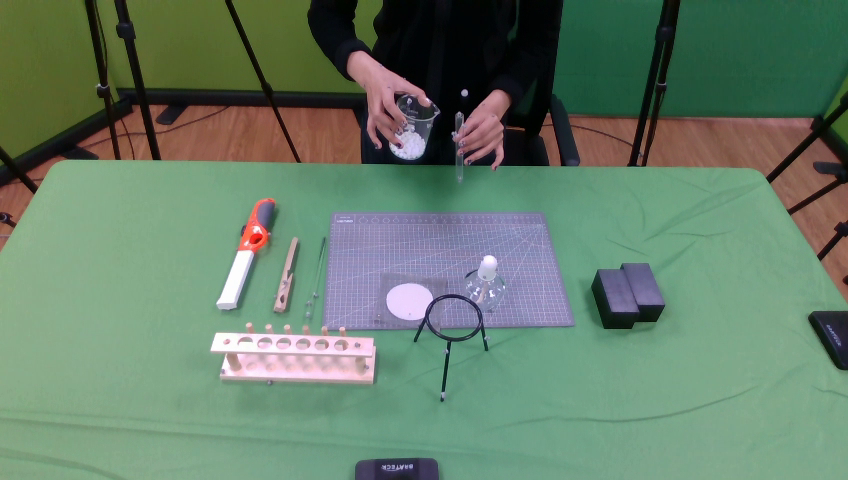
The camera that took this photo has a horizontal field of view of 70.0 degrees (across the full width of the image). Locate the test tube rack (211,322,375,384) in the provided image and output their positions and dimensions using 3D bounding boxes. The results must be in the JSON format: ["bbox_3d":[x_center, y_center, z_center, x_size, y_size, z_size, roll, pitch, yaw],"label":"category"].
[{"bbox_3d":[-0.202,0.176,0.969,0.242,0.085,0.066,3,46,-2],"label":"test tube rack"}]

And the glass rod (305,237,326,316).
[{"bbox_3d":[-0.202,0.063,1.131,0.008,0.008,0.198,4,44,0],"label":"glass rod"}]

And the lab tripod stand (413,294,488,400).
[{"bbox_3d":[0.044,0.159,0.972,0.148,0.132,0.147,3,44,-2],"label":"lab tripod stand"}]

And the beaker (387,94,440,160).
[{"bbox_3d":[-0.022,-0.203,1.106,0.084,0.100,0.073,1,51,-19],"label":"beaker"}]

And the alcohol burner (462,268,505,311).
[{"bbox_3d":[0.108,0.071,1.072,0.078,0.119,0.077,4,45,-3],"label":"alcohol burner"}]

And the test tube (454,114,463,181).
[{"bbox_3d":[0.065,-0.172,1.147,0.017,0.151,0.017,-2,45,2],"label":"test tube"}]

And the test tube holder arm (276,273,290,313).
[{"bbox_3d":[-0.254,0.093,1.094,0.010,0.015,0.087,30,38,-27],"label":"test tube holder arm"}]

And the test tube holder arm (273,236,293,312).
[{"bbox_3d":[-0.260,0.058,1.122,0.013,0.015,0.177,28,38,-28],"label":"test tube holder arm"}]

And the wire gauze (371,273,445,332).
[{"bbox_3d":[-0.028,0.108,1.100,0.125,0.011,0.121,7,45,4],"label":"wire gauze"}]

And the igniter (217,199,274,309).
[{"bbox_3d":[-0.336,0.017,1.153,0.057,0.025,0.275,-2,45,8],"label":"igniter"}]

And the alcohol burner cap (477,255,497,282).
[{"bbox_3d":[0.110,0.047,1.046,0.034,0.048,0.033,2,52,-2],"label":"alcohol burner cap"}]
